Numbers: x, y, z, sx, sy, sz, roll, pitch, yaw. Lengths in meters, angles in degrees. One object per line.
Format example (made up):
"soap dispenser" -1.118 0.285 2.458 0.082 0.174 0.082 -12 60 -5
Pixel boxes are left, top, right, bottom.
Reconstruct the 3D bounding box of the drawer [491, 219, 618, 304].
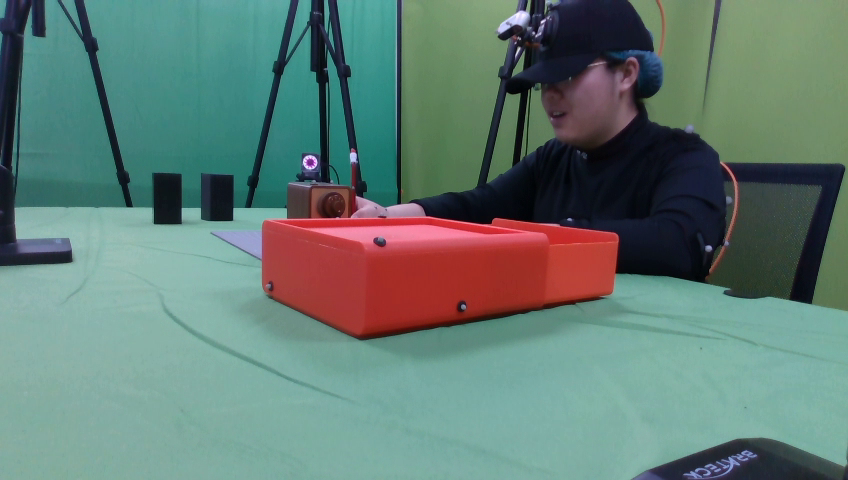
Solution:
"drawer" 0.071 0.021 0.669 0.213 0.073 0.193 -3 9 -39

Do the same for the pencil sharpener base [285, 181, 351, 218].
"pencil sharpener base" -0.139 -0.020 0.789 0.062 0.107 0.076 -2 9 -36

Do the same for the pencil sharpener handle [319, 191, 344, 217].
"pencil sharpener handle" -0.107 -0.026 0.747 0.036 0.067 0.030 -5 11 -36

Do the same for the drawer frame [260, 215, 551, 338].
"drawer frame" -0.021 0.024 0.595 0.215 0.082 0.200 -4 10 -38

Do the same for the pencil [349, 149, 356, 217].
"pencil" -0.123 -0.079 1.049 0.012 0.193 0.012 -3 -29 -1
